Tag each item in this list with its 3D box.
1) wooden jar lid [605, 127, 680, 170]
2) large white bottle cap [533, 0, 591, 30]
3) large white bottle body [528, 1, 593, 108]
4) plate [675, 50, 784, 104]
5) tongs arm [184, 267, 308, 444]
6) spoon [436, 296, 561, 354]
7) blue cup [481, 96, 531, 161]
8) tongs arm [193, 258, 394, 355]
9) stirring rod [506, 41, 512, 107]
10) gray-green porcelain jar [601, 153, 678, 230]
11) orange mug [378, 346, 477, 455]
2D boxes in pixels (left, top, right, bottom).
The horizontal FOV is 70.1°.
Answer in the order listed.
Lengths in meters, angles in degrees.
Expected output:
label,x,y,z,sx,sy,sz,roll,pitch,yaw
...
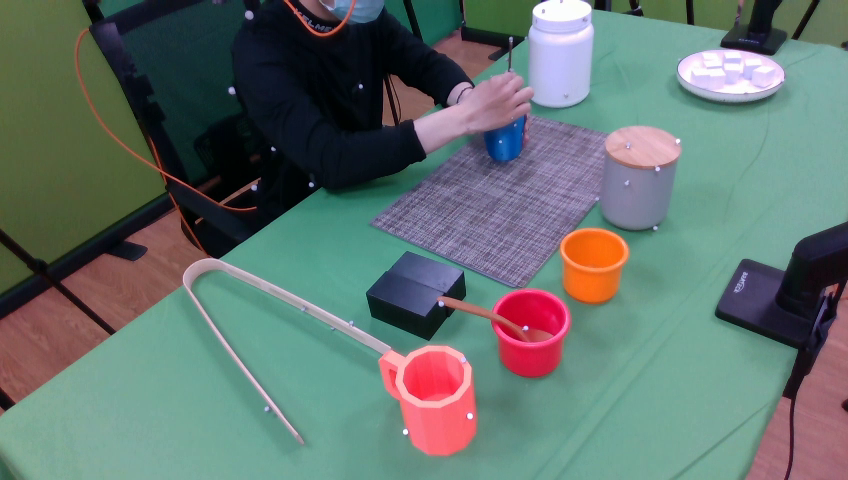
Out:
label,x,y,z,sx,sy,sz,roll,pitch,yaw
wooden jar lid,0.327,-0.134,0.909,0.108,0.021,0.108,-2,43,2
large white bottle cap,0.274,-0.449,1.204,0.115,0.018,0.114,-4,41,4
large white bottle body,0.283,-0.386,1.259,0.130,0.185,0.130,-5,41,4
plate,0.632,-0.336,1.262,0.207,0.039,0.206,-4,41,4
tongs arm,-0.259,0.147,0.843,0.028,0.028,0.384,-37,48,-18
spoon,0.095,0.102,0.750,0.195,0.021,0.041,28,31,-28
blue cup,0.149,-0.205,1.131,0.092,0.100,0.092,-3,37,3
tongs arm,-0.204,0.099,0.881,0.382,0.027,0.051,23,55,32
stirring rod,0.153,-0.271,1.096,0.006,0.177,0.014,2,35,6
gray-green porcelain jar,0.334,-0.087,0.949,0.106,0.127,0.105,-4,40,4
orange mug,0.002,0.179,0.708,0.125,0.101,0.083,25,50,27
